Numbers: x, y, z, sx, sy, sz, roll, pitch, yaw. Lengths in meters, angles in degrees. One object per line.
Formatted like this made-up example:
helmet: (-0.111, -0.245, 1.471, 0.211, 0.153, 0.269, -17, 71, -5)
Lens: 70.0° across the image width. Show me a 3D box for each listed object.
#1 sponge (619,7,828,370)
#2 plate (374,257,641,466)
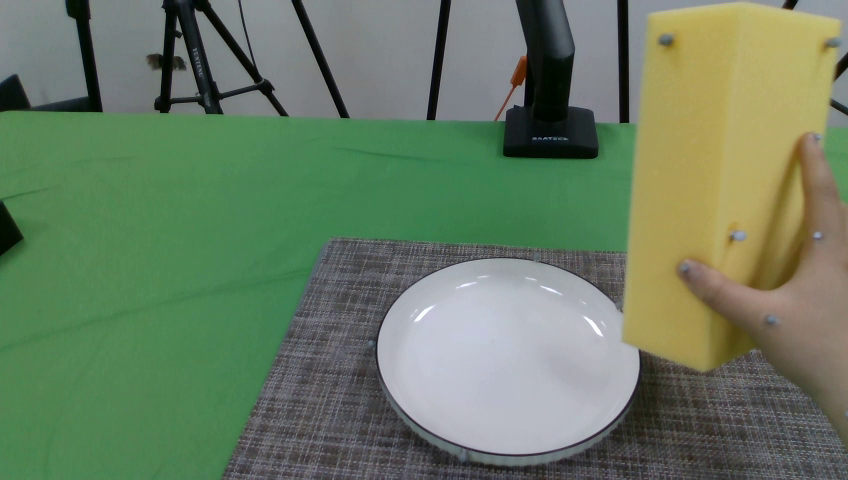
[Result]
sponge: (0.190, -0.034, 0.391, 0.119, 0.207, 0.060, -12, 17, -34)
plate: (0.064, 0.093, 0.489, 0.207, 0.039, 0.205, -2, 38, 2)
